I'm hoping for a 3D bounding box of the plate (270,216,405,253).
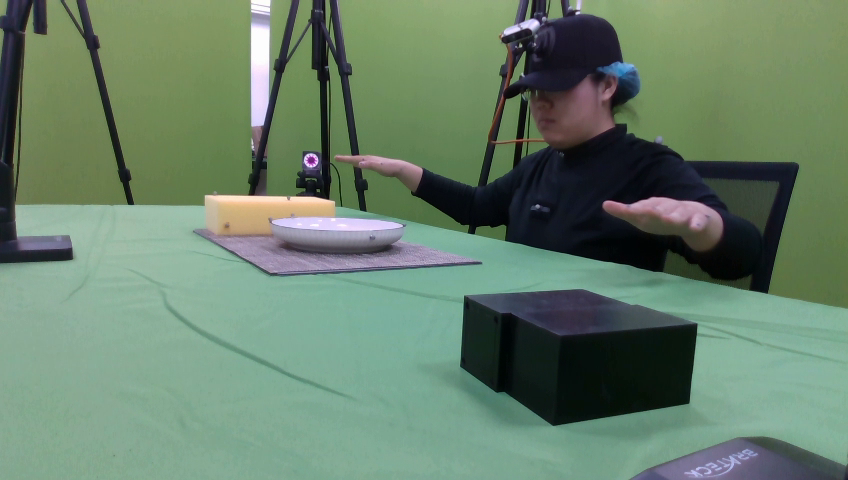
[{"bbox_3d":[-0.134,-0.010,0.946,0.208,0.039,0.207,2,7,0],"label":"plate"}]

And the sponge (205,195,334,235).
[{"bbox_3d":[-0.280,-0.047,1.097,0.208,0.061,0.117,-2,9,-30],"label":"sponge"}]
